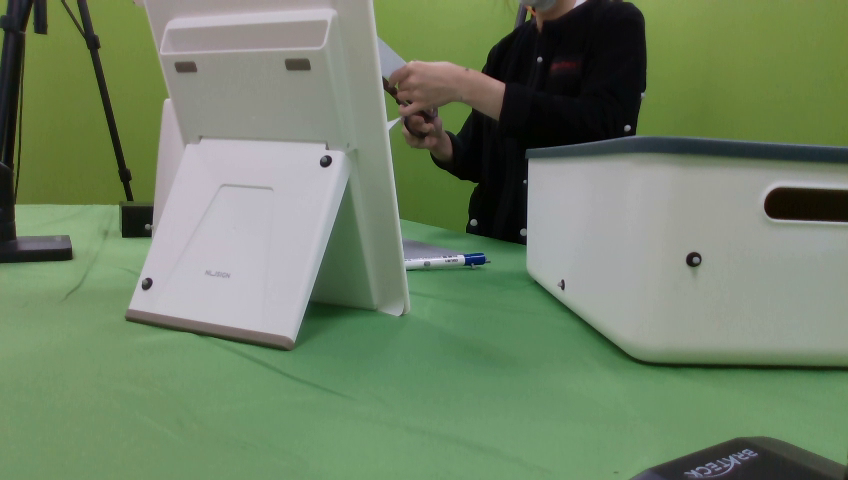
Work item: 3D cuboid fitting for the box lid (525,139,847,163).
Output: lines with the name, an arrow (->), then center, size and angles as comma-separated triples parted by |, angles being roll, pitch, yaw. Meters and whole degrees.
box lid -> 0.261, -0.078, 0.580 | 0.264, 0.015, 0.371 | 2, 7, -4

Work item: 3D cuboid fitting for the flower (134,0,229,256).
flower -> -0.282, -0.147, 0.713 | 0.038, 0.362, 0.044 | -23, 24, -31

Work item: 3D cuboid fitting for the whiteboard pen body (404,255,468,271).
whiteboard pen body -> 0.013, 0.030, 0.792 | 0.141, 0.017, 0.017 | -3, 9, -24

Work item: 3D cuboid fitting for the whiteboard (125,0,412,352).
whiteboard -> -0.151, -0.049, 0.472 | 0.216, 0.305, 0.144 | 6, 27, 24

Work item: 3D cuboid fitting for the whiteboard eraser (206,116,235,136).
whiteboard eraser -> -0.450, -0.252, 1.335 | 0.056, 0.042, 0.112 | 1, 7, -22

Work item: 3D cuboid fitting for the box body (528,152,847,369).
box body -> 0.258, -0.005, 0.591 | 0.254, 0.160, 0.363 | 2, 7, -4

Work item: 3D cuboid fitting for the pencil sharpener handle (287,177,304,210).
pencil sharpener handle -> -0.269, -0.096, 1.257 | 0.036, 0.067, 0.030 | -8, 8, -27

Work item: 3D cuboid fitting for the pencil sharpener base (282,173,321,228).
pencil sharpener base -> -0.247, -0.080, 1.212 | 0.061, 0.107, 0.076 | -2, 5, -28

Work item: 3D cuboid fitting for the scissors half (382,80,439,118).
scissors half -> -0.039, -0.259, 1.051 | 0.176, 0.040, 0.013 | 19, -11, -39

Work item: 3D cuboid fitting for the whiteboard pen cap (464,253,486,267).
whiteboard pen cap -> 0.066, 0.027, 0.818 | 0.033, 0.018, 0.018 | -6, 10, -24

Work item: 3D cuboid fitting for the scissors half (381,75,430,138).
scissors half -> -0.048, -0.240, 1.046 | 0.012, 0.040, 0.176 | 8, -33, 52

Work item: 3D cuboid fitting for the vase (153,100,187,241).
vase -> -0.278, -0.066, 0.736 | 0.098, 0.200, 0.098 | 2, 9, 0

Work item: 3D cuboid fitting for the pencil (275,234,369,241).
pencil -> -0.169, -0.006, 1.036 | 0.195, 0.012, 0.012 | -2, 9, -45
